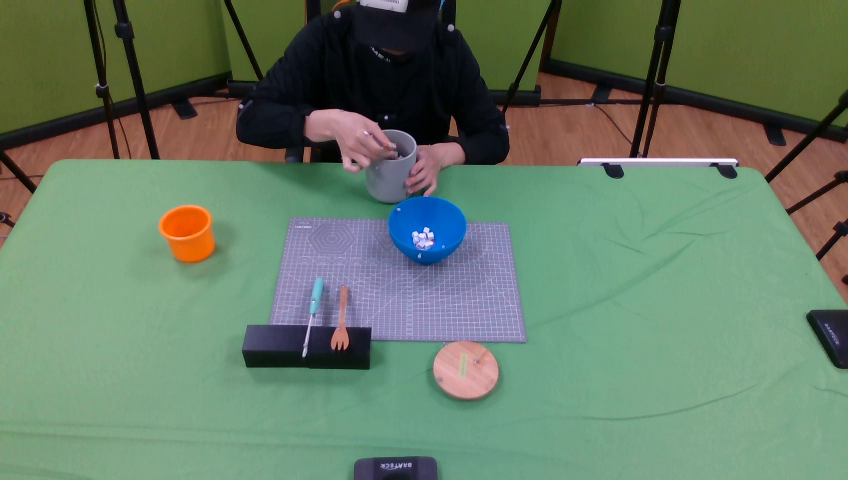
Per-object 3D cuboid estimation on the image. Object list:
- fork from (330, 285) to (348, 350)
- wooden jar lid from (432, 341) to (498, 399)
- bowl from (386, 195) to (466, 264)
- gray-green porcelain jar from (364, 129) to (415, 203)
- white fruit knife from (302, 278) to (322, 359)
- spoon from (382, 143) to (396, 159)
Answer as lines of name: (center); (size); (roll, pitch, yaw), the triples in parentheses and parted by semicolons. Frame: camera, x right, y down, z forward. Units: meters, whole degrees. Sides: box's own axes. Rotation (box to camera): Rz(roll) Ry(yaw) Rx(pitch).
fork: (-0.140, 0.127, 1.021); (0.028, 0.019, 0.206); (-5, 28, -2)
wooden jar lid: (0.067, 0.216, 0.997); (0.108, 0.021, 0.107); (1, 46, -1)
bowl: (0.003, -0.007, 1.162); (0.151, 0.077, 0.150); (2, 46, -2)
gray-green porcelain jar: (-0.073, -0.149, 1.264); (0.106, 0.127, 0.105); (2, 46, -2)
white fruit knife: (-0.189, 0.126, 1.020); (0.016, 0.027, 0.206); (0, 33, -2)
spoon: (-0.069, -0.173, 1.206); (0.041, 0.194, 0.021); (23, 86, 4)
